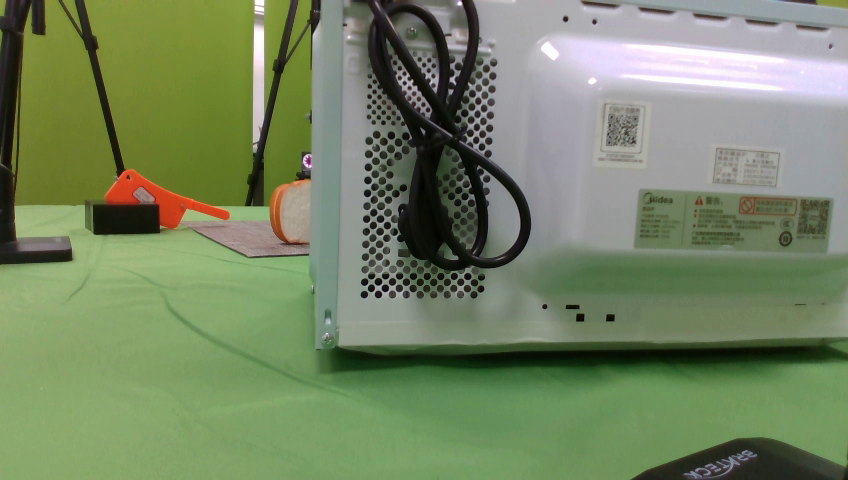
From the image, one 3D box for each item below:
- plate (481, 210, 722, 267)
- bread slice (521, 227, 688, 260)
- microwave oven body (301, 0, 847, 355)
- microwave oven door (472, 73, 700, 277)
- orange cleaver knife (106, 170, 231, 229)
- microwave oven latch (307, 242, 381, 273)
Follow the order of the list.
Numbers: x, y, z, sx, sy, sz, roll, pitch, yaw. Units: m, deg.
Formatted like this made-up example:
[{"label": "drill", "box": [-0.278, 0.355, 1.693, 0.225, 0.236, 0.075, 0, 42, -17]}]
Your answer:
[{"label": "plate", "box": [0.154, -0.003, 0.549, 0.208, 0.039, 0.207, 2, 5, 0]}, {"label": "bread slice", "box": [0.173, 0.002, 0.565, 0.134, 0.018, 0.107, -5, 3, 31]}, {"label": "microwave oven body", "box": [0.120, -0.053, 0.535, 0.443, 0.260, 0.325, 2, 7, -11]}, {"label": "microwave oven door", "box": [0.202, -0.096, 0.851, 0.039, 0.243, 0.354, -2, 9, -37]}, {"label": "orange cleaver knife", "box": [-0.458, -0.060, 1.097, 0.212, 0.077, 0.012, 23, -4, -38]}, {"label": "microwave oven latch", "box": [-0.086, 0.019, 0.656, 0.079, 0.029, 0.030, 2, 7, -10]}]
